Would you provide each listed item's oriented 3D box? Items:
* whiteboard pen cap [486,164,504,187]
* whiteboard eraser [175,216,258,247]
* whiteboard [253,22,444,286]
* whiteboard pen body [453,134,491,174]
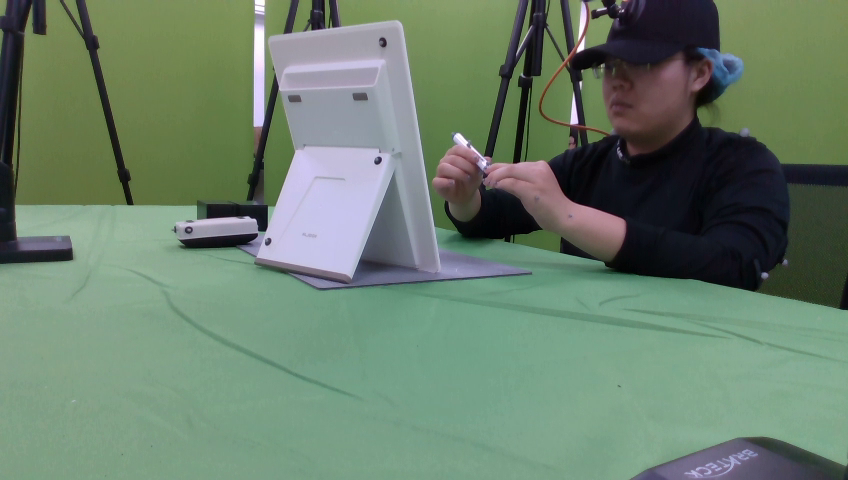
[{"bbox_3d":[0.104,-0.093,0.880,0.018,0.033,0.018,-24,-4,-1],"label":"whiteboard pen cap"},{"bbox_3d":[-0.313,-0.012,0.914,0.113,0.042,0.055,-5,12,-30],"label":"whiteboard eraser"},{"bbox_3d":[-0.125,-0.081,0.714,0.216,0.305,0.144,9,29,36],"label":"whiteboard"},{"bbox_3d":[0.078,-0.128,0.925,0.017,0.017,0.140,-1,34,-27],"label":"whiteboard pen body"}]
